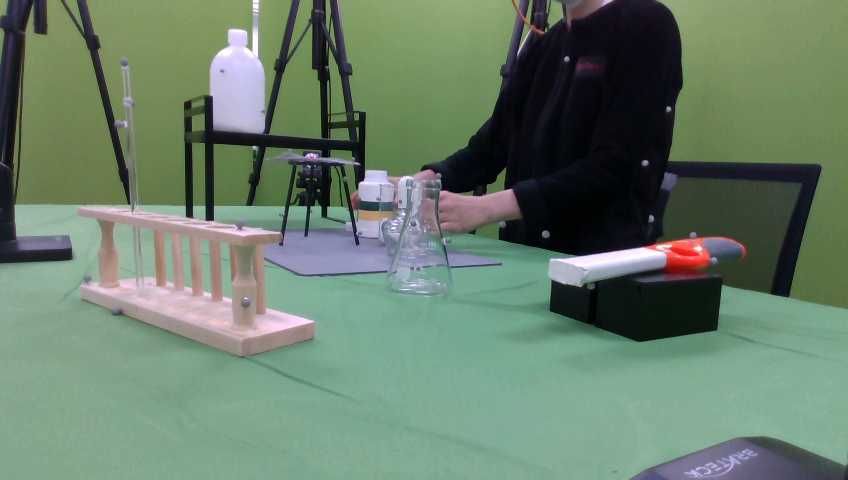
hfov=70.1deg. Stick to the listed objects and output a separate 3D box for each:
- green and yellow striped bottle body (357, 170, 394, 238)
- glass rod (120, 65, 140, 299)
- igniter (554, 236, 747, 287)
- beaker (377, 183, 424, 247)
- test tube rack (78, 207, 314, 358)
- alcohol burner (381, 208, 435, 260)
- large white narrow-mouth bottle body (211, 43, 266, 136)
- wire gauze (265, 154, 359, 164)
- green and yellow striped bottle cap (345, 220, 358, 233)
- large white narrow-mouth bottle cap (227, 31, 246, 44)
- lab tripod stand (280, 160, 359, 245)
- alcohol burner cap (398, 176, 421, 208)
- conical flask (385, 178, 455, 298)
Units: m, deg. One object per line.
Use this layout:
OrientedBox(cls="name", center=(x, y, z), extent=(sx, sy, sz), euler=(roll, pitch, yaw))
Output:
OrientedBox(cls="green and yellow striped bottle body", center=(-0.087, -0.065, 1.080), extent=(0.063, 0.119, 0.063), euler=(3, 7, 0))
OrientedBox(cls="glass rod", center=(-0.249, -0.047, 0.513), extent=(0.008, 0.199, 0.008), euler=(-1, 4, 0))
OrientedBox(cls="igniter", center=(0.221, 0.017, 0.558), extent=(0.278, 0.025, 0.057), euler=(-5, 15, -39))
OrientedBox(cls="beaker", center=(-0.037, -0.041, 0.995), extent=(0.074, 0.100, 0.083), euler=(-5, 11, -44))
OrientedBox(cls="test tube rack", center=(-0.196, 0.023, 0.499), extent=(0.241, 0.085, 0.067), euler=(8, 8, 37))
OrientedBox(cls="alcohol burner", center=(-0.023, -0.032, 0.871), extent=(0.078, 0.119, 0.078), euler=(1, 6, 0))
OrientedBox(cls="large white narrow-mouth bottle body", center=(-0.361, -0.302, 1.176), extent=(0.102, 0.194, 0.102), euler=(1, 7, 0))
OrientedBox(cls="wire gauze", center=(-0.181, -0.129, 0.969), extent=(0.126, 0.011, 0.121), euler=(-1, 7, -27))
OrientedBox(cls="green and yellow striped bottle cap", center=(-0.130, -0.026, 1.169), extent=(0.045, 0.020, 0.045), euler=(3, 10, 0))
OrientedBox(cls="large white narrow-mouth bottle cap", center=(-0.361, -0.388, 1.165), extent=(0.038, 0.024, 0.037), euler=(1, 7, 0))
OrientedBox(cls="lab tripod stand", center=(-0.176, -0.062, 0.973), extent=(0.148, 0.131, 0.148), euler=(1, 7, 0))
OrientedBox(cls="alcohol burner cap", center=(-0.023, -0.068, 0.866), extent=(0.034, 0.048, 0.034), euler=(-5, 8, 1))
OrientedBox(cls="conical flask", center=(-0.002, -0.004, 0.639), extent=(0.075, 0.122, 0.075), euler=(2, 7, 0))
